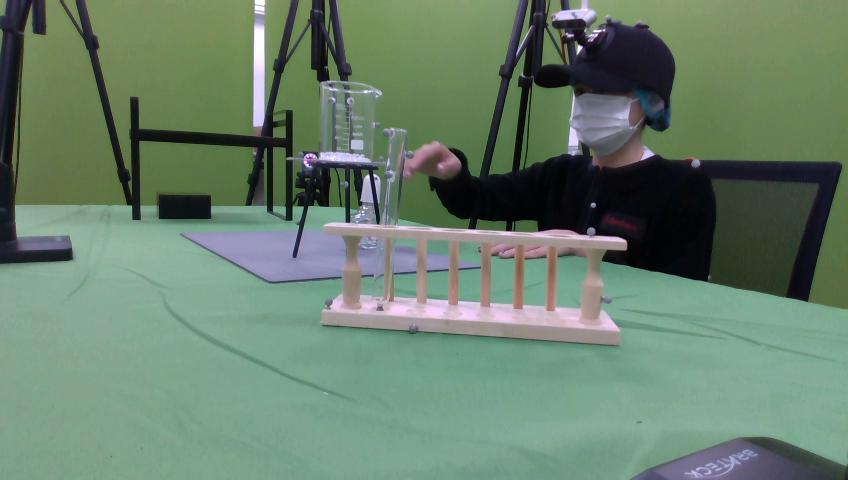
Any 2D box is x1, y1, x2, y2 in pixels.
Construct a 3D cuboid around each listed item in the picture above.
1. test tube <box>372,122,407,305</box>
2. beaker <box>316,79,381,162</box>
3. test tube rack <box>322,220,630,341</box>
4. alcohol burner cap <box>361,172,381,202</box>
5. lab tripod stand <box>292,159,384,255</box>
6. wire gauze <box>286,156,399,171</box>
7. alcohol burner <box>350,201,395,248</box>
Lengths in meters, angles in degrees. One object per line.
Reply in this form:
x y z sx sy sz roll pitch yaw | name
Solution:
-0.029 -0.020 0.493 0.017 0.150 0.017 6 9 -1 | test tube
-0.098 -0.151 0.778 0.084 0.100 0.074 4 7 6 | beaker
0.041 0.029 0.512 0.242 0.085 0.067 3 7 5 | test tube rack
-0.081 -0.084 0.949 0.034 0.048 0.034 7 7 -1 | alcohol burner cap
-0.105 -0.039 0.797 0.148 0.131 0.148 2 5 0 | lab tripod stand
-0.101 -0.103 0.788 0.121 0.011 0.125 5 4 6 | wire gauze
-0.084 -0.048 0.953 0.078 0.119 0.078 1 6 0 | alcohol burner
